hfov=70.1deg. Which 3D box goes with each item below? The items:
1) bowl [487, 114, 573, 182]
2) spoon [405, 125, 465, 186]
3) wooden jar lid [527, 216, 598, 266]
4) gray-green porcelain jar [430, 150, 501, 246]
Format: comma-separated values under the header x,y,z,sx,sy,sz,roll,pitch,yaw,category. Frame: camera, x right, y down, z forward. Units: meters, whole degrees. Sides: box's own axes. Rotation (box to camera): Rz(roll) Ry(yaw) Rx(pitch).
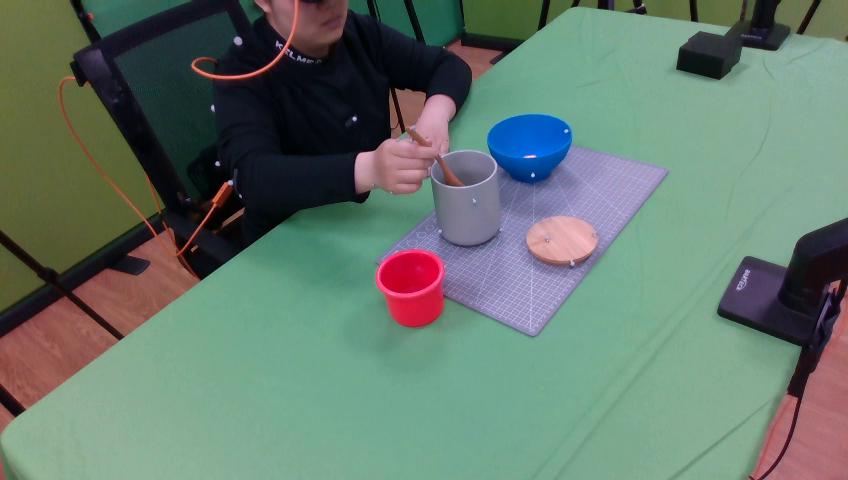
x,y,z,sx,sy,sz,roll,pitch,yaw,category
0.190,-0.156,1.085,0.151,0.077,0.150,-5,40,5,bowl
0.022,-0.115,0.890,0.041,0.195,0.021,17,72,37,spoon
0.215,0.003,0.937,0.108,0.021,0.108,-4,40,4,wooden jar lid
0.069,-0.062,0.959,0.106,0.127,0.105,-5,40,5,gray-green porcelain jar
